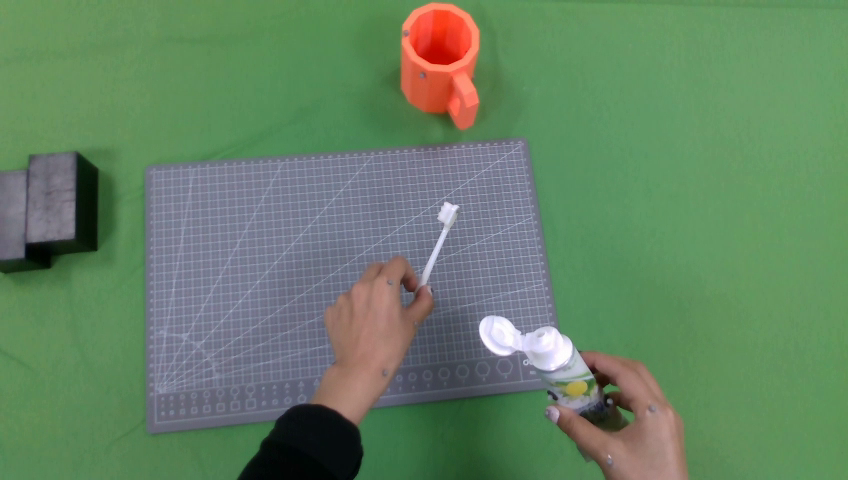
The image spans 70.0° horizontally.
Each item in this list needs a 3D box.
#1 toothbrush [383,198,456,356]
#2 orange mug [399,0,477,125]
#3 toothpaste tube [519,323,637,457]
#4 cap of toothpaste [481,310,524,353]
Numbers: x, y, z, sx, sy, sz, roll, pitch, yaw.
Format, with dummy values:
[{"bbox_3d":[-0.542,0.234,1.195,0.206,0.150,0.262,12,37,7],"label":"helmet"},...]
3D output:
[{"bbox_3d":[-0.008,0.040,0.619,0.016,0.014,0.182,27,107,16],"label":"toothbrush"},{"bbox_3d":[0.022,-0.200,0.704,0.083,0.101,0.125,-26,74,-10],"label":"orange mug"},{"bbox_3d":[0.124,0.127,0.501,0.055,0.034,0.166,-27,121,16],"label":"toothpaste tube"},{"bbox_3d":[0.061,0.070,0.470,0.037,0.011,0.037,16,53,-22],"label":"cap of toothpaste"}]
